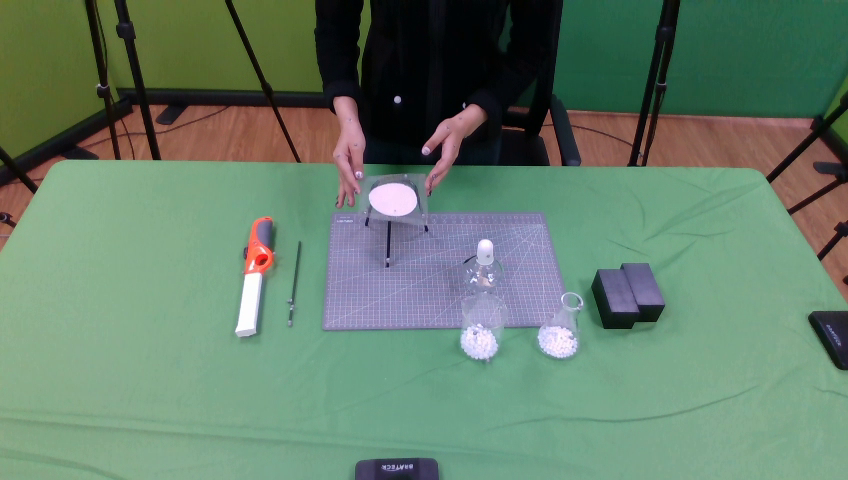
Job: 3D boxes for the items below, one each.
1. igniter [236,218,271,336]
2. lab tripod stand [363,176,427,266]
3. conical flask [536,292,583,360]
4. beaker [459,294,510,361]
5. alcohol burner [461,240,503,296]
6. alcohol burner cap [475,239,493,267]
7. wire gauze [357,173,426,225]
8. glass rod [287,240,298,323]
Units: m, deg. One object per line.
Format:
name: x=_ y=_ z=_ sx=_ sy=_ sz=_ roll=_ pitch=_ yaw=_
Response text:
igniter: x=-0.312 y=0.058 z=1.115 sx=0.057 sy=0.025 sz=0.274 roll=-9 pitch=46 yaw=2
lab tripod stand: x=-0.057 y=-0.047 z=1.159 sx=0.148 sy=0.132 sz=0.147 roll=3 pitch=44 yaw=-2
conical flask: x=0.234 y=0.139 z=1.015 sx=0.075 sy=0.122 sz=0.075 roll=2 pitch=46 yaw=-2
beaker: x=0.095 y=0.147 z=1.012 sx=0.083 sy=0.101 sz=0.074 roll=26 pitch=49 yaw=21
alcohol burner: x=0.106 y=0.045 z=1.098 sx=0.078 sy=0.120 sz=0.077 roll=1 pitch=44 yaw=-1
alcohol burner cap: x=0.107 y=0.020 z=1.071 sx=0.034 sy=0.048 sz=0.033 roll=-2 pitch=46 yaw=2
wire gauze: x=-0.058 y=-0.078 z=1.081 sx=0.125 sy=0.011 sz=0.120 roll=3 pitch=47 yaw=-5
glass rod: x=-0.242 y=0.072 z=1.119 sx=0.008 sy=0.008 sz=0.198 roll=-1 pitch=47 yaw=-5
